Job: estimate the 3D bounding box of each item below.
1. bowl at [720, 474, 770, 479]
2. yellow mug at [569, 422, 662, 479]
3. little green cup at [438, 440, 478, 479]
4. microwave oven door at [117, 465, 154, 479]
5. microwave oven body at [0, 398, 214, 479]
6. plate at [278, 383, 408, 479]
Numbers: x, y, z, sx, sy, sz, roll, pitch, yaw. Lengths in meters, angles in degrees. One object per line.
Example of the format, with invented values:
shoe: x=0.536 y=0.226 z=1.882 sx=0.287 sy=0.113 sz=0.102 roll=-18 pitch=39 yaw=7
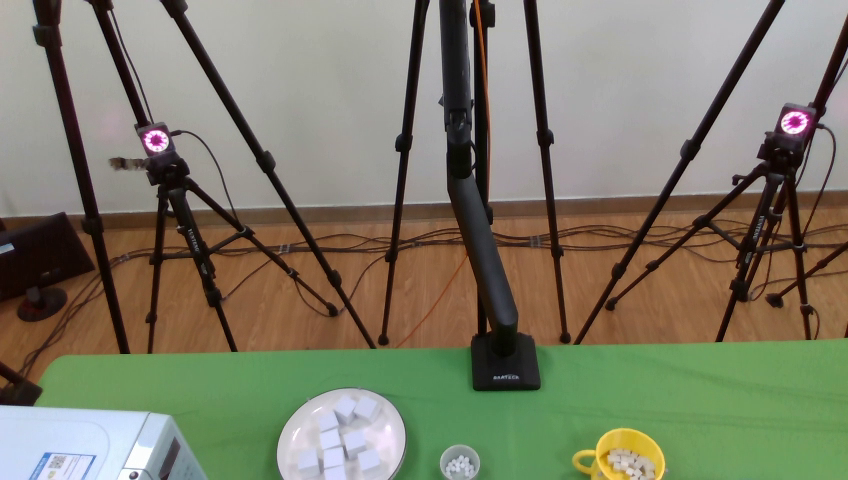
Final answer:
bowl: x=0.447 y=0.406 z=0.821 sx=0.151 sy=0.077 sz=0.150 roll=-2 pitch=42 yaw=2
yellow mug: x=0.288 y=0.336 z=0.922 sx=0.130 sy=0.064 sz=0.099 roll=6 pitch=42 yaw=12
little green cup: x=0.054 y=0.349 z=0.945 sx=0.061 sy=0.039 sz=0.061 roll=-2 pitch=41 yaw=2
microwave oven door: x=-0.349 y=0.466 z=0.657 sx=0.039 sy=0.246 sz=0.352 roll=1 pitch=42 yaw=5
microwave oven body: x=-0.491 y=0.440 z=0.705 sx=0.326 sy=0.262 sz=0.437 roll=1 pitch=42 yaw=5
plate: x=-0.129 y=0.327 z=0.983 sx=0.207 sy=0.039 sz=0.205 roll=-2 pitch=41 yaw=2
